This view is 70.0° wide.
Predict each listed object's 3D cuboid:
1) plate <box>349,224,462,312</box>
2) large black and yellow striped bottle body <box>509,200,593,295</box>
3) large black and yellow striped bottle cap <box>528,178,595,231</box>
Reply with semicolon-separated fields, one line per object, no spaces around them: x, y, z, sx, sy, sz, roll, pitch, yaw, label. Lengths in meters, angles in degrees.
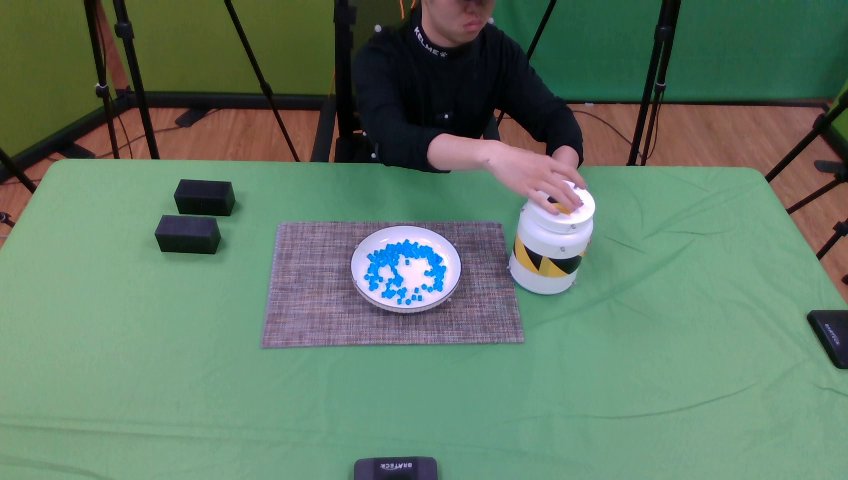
-0.035;0.054;1.126;0.208;0.039;0.206;2;46;-2;plate
0.232;-0.004;1.105;0.131;0.185;0.130;2;46;-2;large black and yellow striped bottle body
0.237;-0.063;1.044;0.115;0.019;0.114;2;47;-2;large black and yellow striped bottle cap
